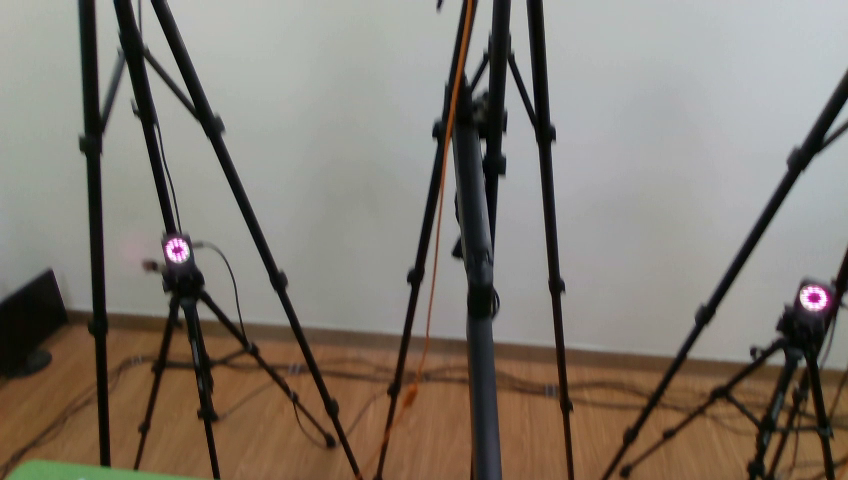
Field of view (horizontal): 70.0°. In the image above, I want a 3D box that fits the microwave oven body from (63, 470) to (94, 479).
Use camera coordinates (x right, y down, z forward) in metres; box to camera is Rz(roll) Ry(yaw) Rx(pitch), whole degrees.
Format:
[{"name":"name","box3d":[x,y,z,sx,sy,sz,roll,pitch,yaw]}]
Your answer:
[{"name":"microwave oven body","box3d":[-0.461,0.531,0.638,0.323,0.262,0.441,19,35,29]}]
